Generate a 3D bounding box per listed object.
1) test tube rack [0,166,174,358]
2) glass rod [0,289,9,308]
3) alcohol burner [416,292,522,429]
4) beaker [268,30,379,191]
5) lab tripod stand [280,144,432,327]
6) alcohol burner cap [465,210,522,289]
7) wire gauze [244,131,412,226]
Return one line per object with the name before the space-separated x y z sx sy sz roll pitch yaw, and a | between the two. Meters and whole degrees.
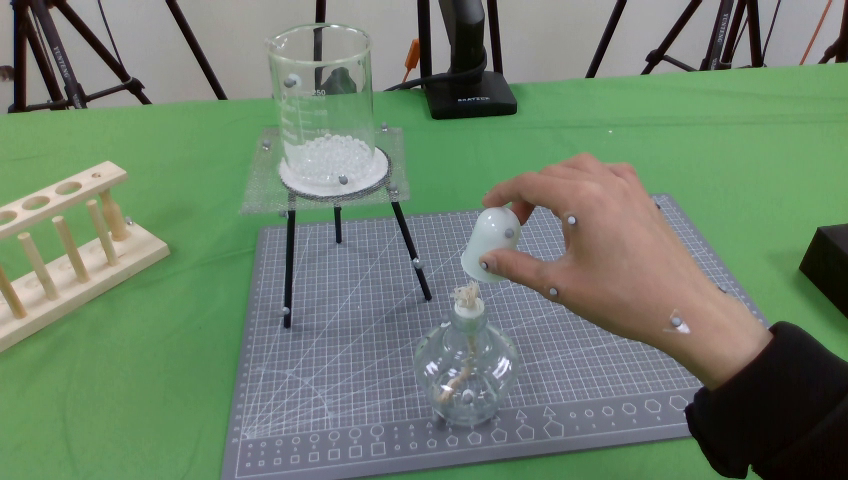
test tube rack | -0.351 0.032 0.523 0.066 0.086 0.242 26 45 30
glass rod | -0.375 -0.026 0.490 0.008 0.201 0.008 0 31 0
alcohol burner | 0.032 0.079 0.430 0.078 0.120 0.077 0 40 0
beaker | -0.074 -0.095 0.451 0.083 0.101 0.074 20 42 22
lab tripod stand | -0.064 -0.005 0.523 0.148 0.132 0.147 1 37 0
alcohol burner cap | 0.045 0.003 0.371 0.034 0.048 0.033 6 44 -5
wire gauze | -0.073 -0.055 0.479 0.121 0.011 0.124 -3 40 -4
